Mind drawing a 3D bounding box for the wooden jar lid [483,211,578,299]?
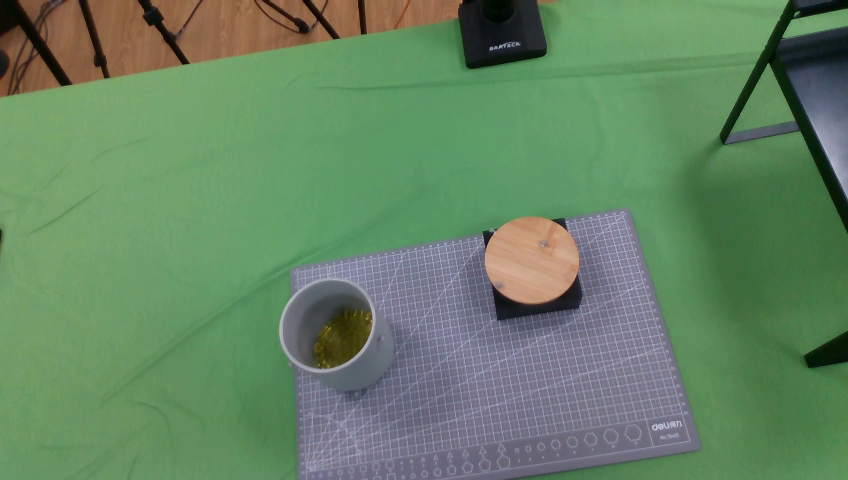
[{"bbox_3d":[0.123,0.019,0.703,0.108,0.021,0.107,-3,68,7],"label":"wooden jar lid"}]

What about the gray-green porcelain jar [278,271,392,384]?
[{"bbox_3d":[-0.095,0.106,0.693,0.106,0.127,0.105,-3,67,7],"label":"gray-green porcelain jar"}]
